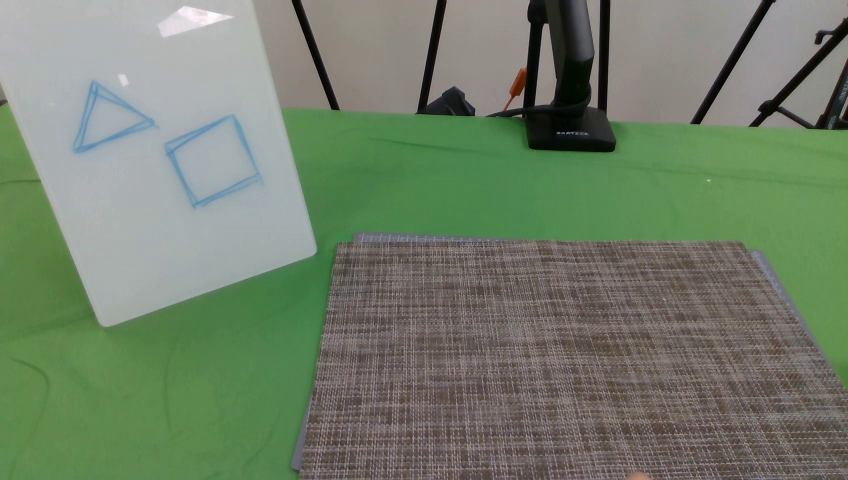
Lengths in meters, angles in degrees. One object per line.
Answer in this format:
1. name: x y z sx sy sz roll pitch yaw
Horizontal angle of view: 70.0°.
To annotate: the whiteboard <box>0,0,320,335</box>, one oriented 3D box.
1. whiteboard: -0.261 -0.102 0.607 0.218 0.307 0.142 -21 23 -25
